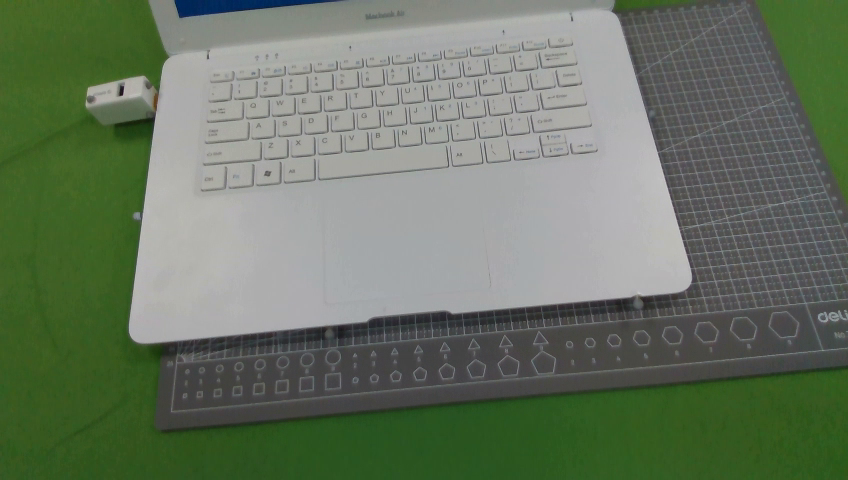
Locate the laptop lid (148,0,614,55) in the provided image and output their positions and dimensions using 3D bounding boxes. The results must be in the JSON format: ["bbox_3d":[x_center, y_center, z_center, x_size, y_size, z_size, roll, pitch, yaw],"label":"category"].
[{"bbox_3d":[-0.039,-0.255,0.411,0.357,0.244,0.013,-7,34,2],"label":"laptop lid"}]

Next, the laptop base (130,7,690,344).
[{"bbox_3d":[-0.018,-0.055,0.427,0.354,0.023,0.233,-6,67,1],"label":"laptop base"}]

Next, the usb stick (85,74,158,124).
[{"bbox_3d":[-0.217,-0.106,0.452,0.059,0.027,0.021,-8,63,1],"label":"usb stick"}]
